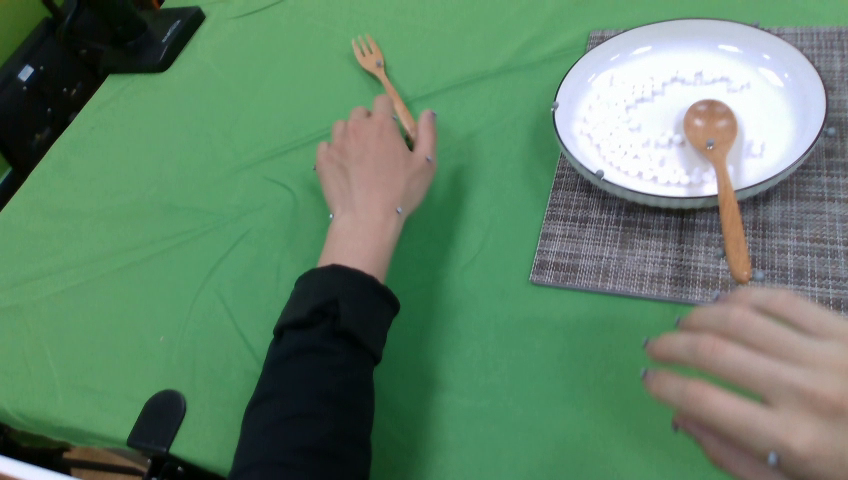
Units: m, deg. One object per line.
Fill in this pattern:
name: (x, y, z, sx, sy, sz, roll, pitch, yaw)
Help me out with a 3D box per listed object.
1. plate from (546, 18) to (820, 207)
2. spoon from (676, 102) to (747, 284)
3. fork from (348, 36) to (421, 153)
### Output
plate: (0.209, -0.106, 0.509, 0.207, 0.039, 0.205, -8, 53, 11)
spoon: (0.212, -0.043, 0.442, 0.041, 0.022, 0.192, 2, 43, 14)
fork: (-0.043, -0.158, 0.641, 0.028, 0.019, 0.205, -20, 50, -8)
